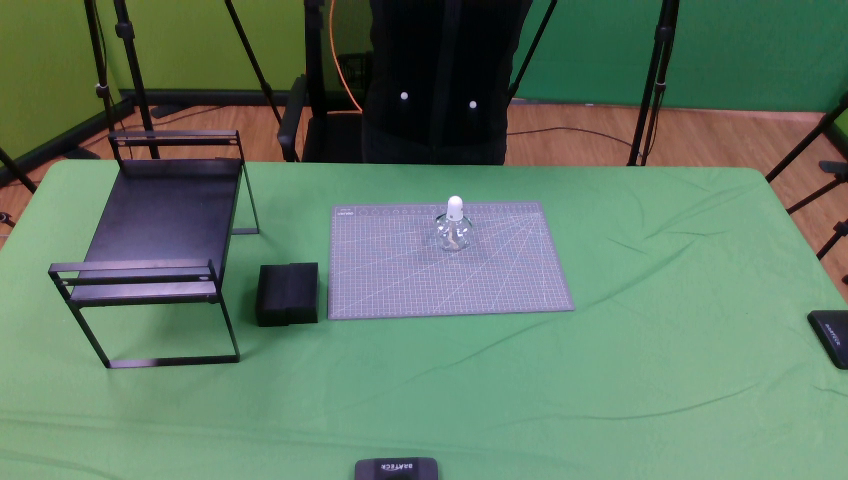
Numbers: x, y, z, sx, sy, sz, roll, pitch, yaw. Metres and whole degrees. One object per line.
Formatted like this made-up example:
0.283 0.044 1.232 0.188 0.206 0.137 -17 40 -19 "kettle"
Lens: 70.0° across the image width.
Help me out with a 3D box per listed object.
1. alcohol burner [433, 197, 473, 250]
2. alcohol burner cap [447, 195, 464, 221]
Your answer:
0.058 -0.038 1.169 0.078 0.119 0.077 3 45 -3 "alcohol burner"
0.060 -0.063 1.143 0.034 0.048 0.033 -1 42 1 "alcohol burner cap"
